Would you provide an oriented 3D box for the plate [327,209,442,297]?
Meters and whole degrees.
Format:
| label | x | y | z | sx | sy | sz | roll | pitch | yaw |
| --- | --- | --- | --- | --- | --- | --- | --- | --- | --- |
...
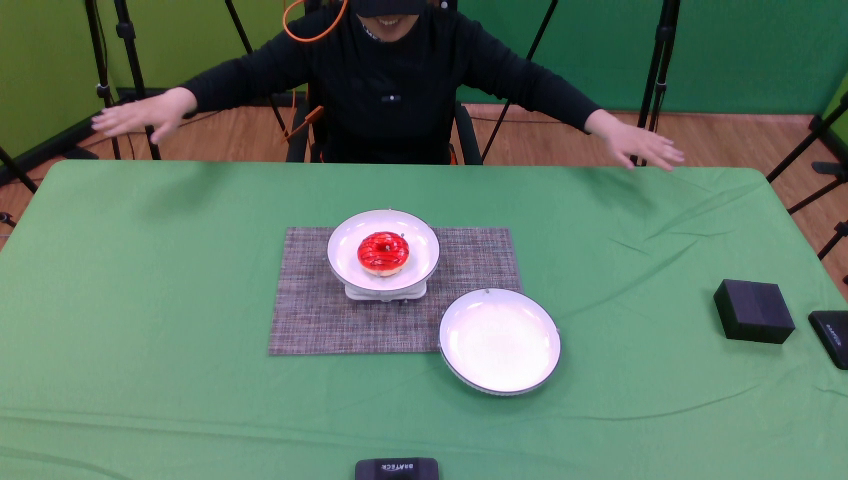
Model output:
| label | x | y | z | sx | sy | sz | roll | pitch | yaw |
| --- | --- | --- | --- | --- | --- | --- | --- | --- | --- |
| plate | -0.072 | 0.027 | 1.109 | 0.208 | 0.039 | 0.206 | 2 | 46 | -1 |

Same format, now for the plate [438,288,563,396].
| label | x | y | z | sx | sy | sz | roll | pitch | yaw |
| --- | --- | --- | --- | --- | --- | --- | --- | --- | --- |
| plate | 0.127 | 0.173 | 1.025 | 0.209 | 0.038 | 0.208 | 3 | 48 | -3 |

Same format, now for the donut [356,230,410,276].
| label | x | y | z | sx | sy | sz | roll | pitch | yaw |
| --- | --- | --- | --- | --- | --- | --- | --- | --- | --- |
| donut | -0.073 | 0.022 | 1.097 | 0.099 | 0.048 | 0.098 | 0 | 45 | 0 |

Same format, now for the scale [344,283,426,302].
| label | x | y | z | sx | sy | sz | roll | pitch | yaw |
| --- | --- | --- | --- | --- | --- | --- | --- | --- | --- |
| scale | -0.075 | 0.033 | 1.149 | 0.149 | 0.032 | 0.199 | 0 | 46 | -5 |
